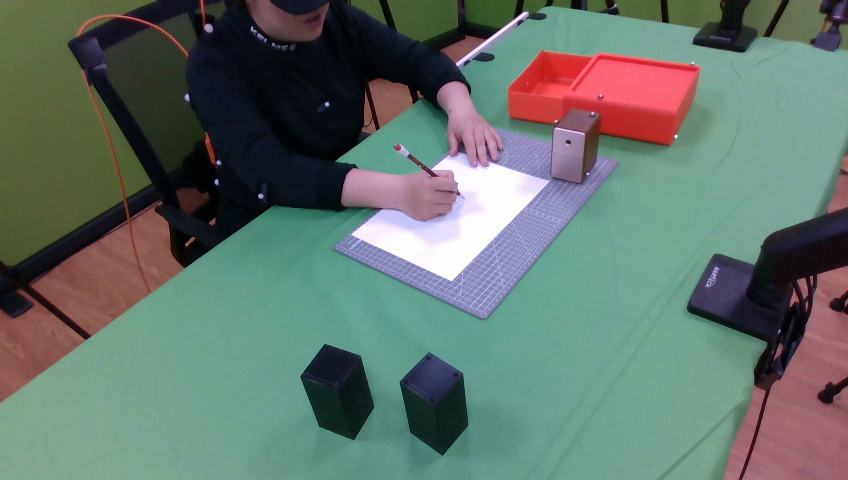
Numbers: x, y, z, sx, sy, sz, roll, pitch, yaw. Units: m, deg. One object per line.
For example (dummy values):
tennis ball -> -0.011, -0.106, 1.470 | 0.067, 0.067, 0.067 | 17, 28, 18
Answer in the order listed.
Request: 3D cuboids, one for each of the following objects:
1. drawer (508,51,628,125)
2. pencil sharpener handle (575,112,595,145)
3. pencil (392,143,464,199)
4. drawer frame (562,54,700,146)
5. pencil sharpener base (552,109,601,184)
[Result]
drawer -> 0.305, -0.309, 1.246 | 0.210, 0.073, 0.195 | 16, 45, 25
pencil sharpener handle -> 0.290, -0.203, 1.077 | 0.036, 0.068, 0.031 | 19, 47, 25
pencil -> 0.012, -0.107, 0.983 | 0.012, 0.196, 0.012 | -18, 58, 32
drawer frame -> 0.407, -0.282, 1.195 | 0.212, 0.083, 0.202 | 17, 45, 25
pencil sharpener base -> 0.265, -0.163, 1.053 | 0.061, 0.107, 0.077 | 17, 46, 27
